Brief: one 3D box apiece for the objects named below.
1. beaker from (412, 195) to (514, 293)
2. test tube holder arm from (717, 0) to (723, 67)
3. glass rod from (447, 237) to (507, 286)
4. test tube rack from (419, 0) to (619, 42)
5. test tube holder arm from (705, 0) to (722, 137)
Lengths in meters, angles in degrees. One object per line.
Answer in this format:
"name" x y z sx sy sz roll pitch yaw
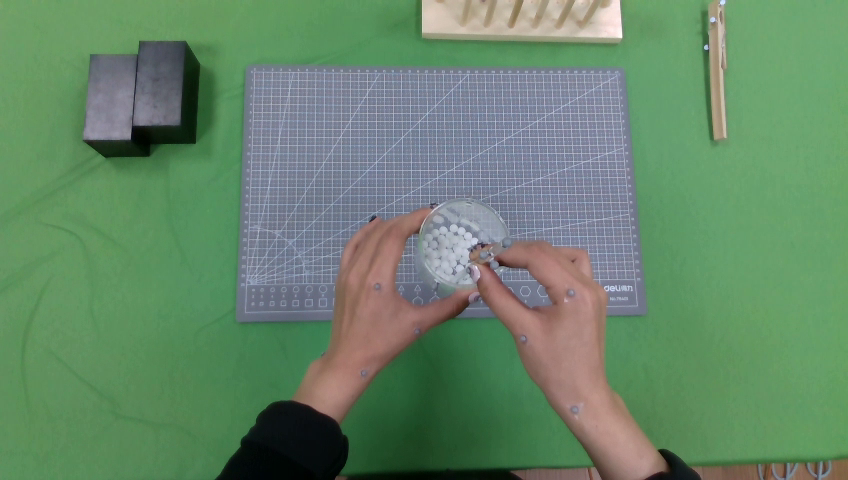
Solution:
"beaker" 0.029 0.009 0.528 0.084 0.100 0.074 17 80 -2
"test tube holder arm" 0.359 -0.253 0.745 0.010 0.015 0.087 13 76 -30
"glass rod" 0.036 0.020 0.465 0.008 0.200 0.008 1 79 -7
"test tube rack" 0.117 -0.286 0.705 0.242 0.085 0.066 0 78 -3
"test tube holder arm" 0.351 -0.210 0.733 0.013 0.015 0.177 12 76 -31
